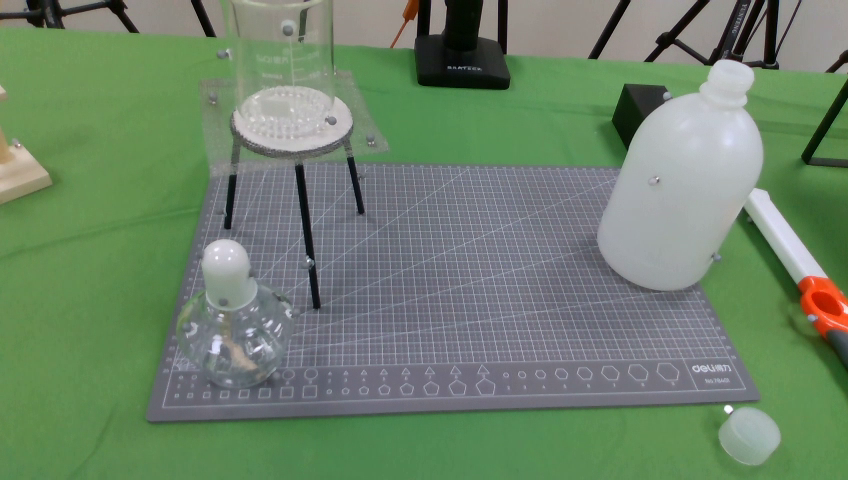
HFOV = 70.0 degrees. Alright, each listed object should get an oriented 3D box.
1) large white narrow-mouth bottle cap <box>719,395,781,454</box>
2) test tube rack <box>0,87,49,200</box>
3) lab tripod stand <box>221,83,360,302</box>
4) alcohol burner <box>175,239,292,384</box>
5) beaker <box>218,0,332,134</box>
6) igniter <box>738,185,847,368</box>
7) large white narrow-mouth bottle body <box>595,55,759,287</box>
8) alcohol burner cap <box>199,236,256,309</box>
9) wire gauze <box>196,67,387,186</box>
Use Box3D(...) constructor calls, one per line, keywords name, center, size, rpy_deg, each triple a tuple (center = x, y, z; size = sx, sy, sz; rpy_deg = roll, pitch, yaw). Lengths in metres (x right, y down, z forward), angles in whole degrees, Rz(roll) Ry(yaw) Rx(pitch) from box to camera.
Box3D(name="large white narrow-mouth bottle cap", center=(0.235, 0.134, 0.438), size=(0.038, 0.024, 0.037), rpy_deg=(4, 43, -3))
Box3D(name="test tube rack", center=(-0.455, -0.049, 0.487), size=(0.066, 0.086, 0.242), rpy_deg=(37, 51, 27))
Box3D(name="lab tripod stand", center=(-0.103, -0.044, 0.491), size=(0.148, 0.132, 0.147), rpy_deg=(5, 44, -5))
Box3D(name="alcohol burner", center=(-0.130, 0.044, 0.411), size=(0.078, 0.120, 0.077), rpy_deg=(5, 42, -4))
Box3D(name="beaker", center=(-0.102, -0.131, 0.415), size=(0.084, 0.101, 0.073), rpy_deg=(-5, 46, -12))
Box3D(name="igniter", center=(0.350, 0.042, 0.544), size=(0.057, 0.025, 0.273), rpy_deg=(9, 42, -14))
Box3D(name="large white narrow-mouth bottle body", center=(0.214, -0.057, 0.504), size=(0.102, 0.196, 0.101), rpy_deg=(3, 44, -3))
Box3D(name="alcohol burner cap", center=(-0.126, 0.019, 0.384), size=(0.034, 0.048, 0.033), rpy_deg=(4, 50, -4))
Box3D(name="wire gauze", center=(-0.101, -0.093, 0.448), size=(0.122, 0.011, 0.123), rpy_deg=(-11, 50, -16))
